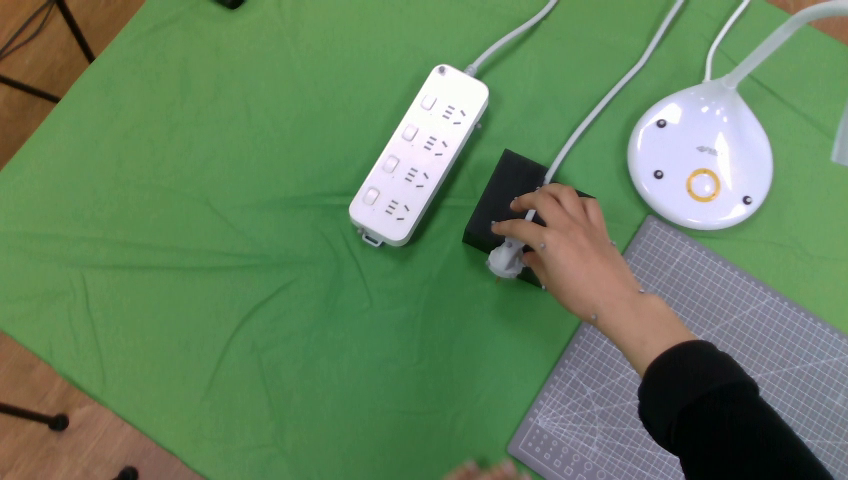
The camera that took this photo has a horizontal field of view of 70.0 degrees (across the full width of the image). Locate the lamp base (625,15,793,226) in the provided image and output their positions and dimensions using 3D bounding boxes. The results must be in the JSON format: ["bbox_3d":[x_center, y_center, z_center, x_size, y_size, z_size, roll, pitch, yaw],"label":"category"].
[{"bbox_3d":[0.305,-0.123,0.603,0.160,0.181,0.178,5,74,1],"label":"lamp base"}]

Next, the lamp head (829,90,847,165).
[{"bbox_3d":[0.282,-0.095,0.311,0.112,0.112,0.123,2,100,0],"label":"lamp head"}]

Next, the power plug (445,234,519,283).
[{"bbox_3d":[0.058,0.017,0.597,0.072,0.053,0.035,10,36,7],"label":"power plug"}]

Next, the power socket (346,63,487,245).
[{"bbox_3d":[-0.006,-0.097,0.668,0.072,0.033,0.226,30,78,5],"label":"power socket"}]
